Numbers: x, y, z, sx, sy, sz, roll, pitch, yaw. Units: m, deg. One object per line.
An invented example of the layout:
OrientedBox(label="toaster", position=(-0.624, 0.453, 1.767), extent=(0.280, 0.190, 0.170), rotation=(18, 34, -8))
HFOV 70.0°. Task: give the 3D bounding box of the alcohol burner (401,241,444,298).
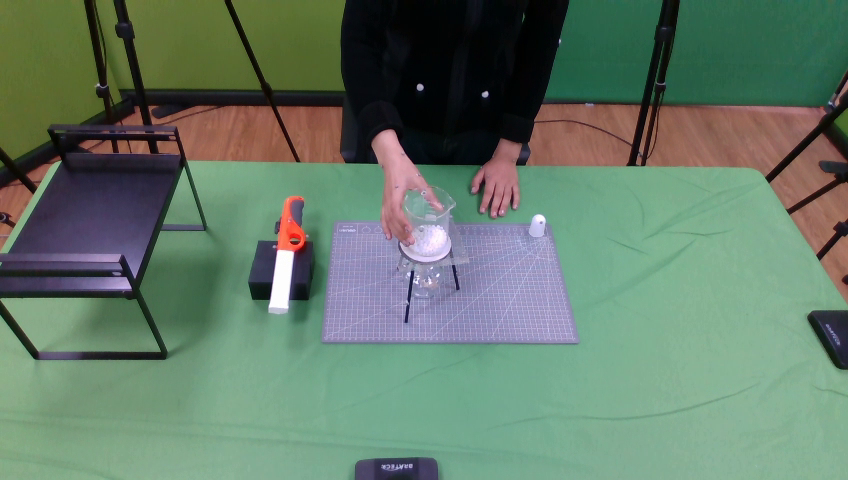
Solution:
OrientedBox(label="alcohol burner", position=(-0.001, 0.048, 1.085), extent=(0.078, 0.119, 0.077), rotation=(2, 44, -2))

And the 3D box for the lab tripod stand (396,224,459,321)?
OrientedBox(label="lab tripod stand", position=(-0.004, 0.052, 1.067), extent=(0.148, 0.132, 0.147), rotation=(3, 47, -3))

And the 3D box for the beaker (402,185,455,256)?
OrientedBox(label="beaker", position=(0.007, -0.029, 0.985), extent=(0.084, 0.101, 0.073), rotation=(-2, 50, -2))

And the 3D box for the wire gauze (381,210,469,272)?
OrientedBox(label="wire gauze", position=(0.000, 0.001, 1.024), extent=(0.125, 0.011, 0.120), rotation=(-10, 49, -11))

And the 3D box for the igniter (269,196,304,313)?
OrientedBox(label="igniter", position=(-0.249, 0.016, 1.095), extent=(0.057, 0.025, 0.274), rotation=(8, 46, -13))

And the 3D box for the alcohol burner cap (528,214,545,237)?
OrientedBox(label="alcohol burner cap", position=(0.231, -0.032, 1.230), extent=(0.034, 0.048, 0.033), rotation=(2, 46, -2))
